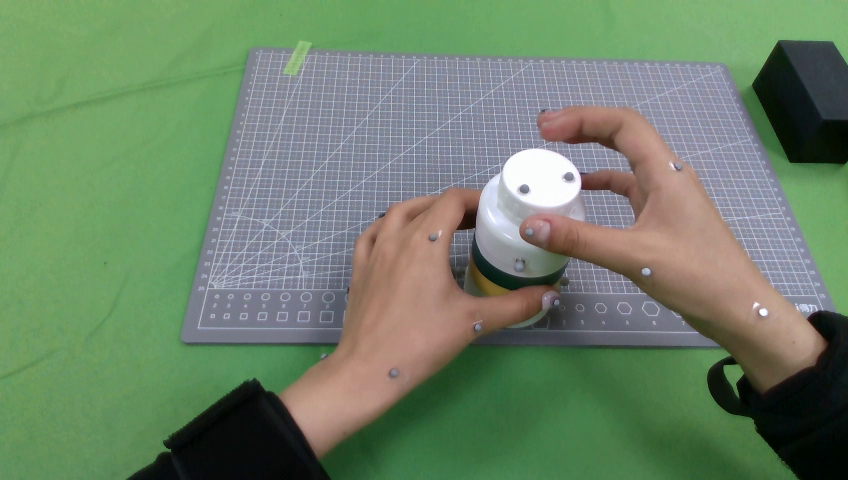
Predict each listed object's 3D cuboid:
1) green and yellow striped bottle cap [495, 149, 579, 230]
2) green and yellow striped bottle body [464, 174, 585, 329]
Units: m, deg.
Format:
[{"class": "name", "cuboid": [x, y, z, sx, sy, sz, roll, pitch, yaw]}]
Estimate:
[{"class": "green and yellow striped bottle cap", "cuboid": [0.062, -0.029, 0.334, 0.045, 0.020, 0.045, 3, 56, -3]}, {"class": "green and yellow striped bottle body", "cuboid": [0.061, 0.002, 0.376, 0.063, 0.120, 0.062, 1, 55, -1]}]
